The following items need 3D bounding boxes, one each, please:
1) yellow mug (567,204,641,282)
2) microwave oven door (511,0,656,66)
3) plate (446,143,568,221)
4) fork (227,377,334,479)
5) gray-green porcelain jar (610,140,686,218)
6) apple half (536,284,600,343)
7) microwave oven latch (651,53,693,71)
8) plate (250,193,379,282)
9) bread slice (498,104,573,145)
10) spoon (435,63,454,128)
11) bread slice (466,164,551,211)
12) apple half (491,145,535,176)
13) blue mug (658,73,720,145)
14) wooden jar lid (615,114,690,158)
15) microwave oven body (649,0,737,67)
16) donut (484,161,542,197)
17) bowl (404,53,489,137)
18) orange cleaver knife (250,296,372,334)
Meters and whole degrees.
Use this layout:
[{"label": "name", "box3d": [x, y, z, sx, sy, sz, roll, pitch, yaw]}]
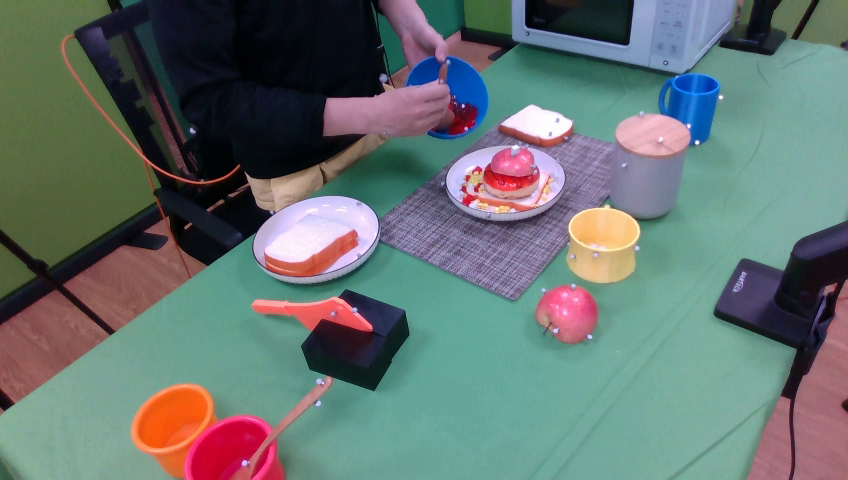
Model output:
[{"label": "yellow mug", "box3d": [0.268, -0.005, 0.905, 0.099, 0.064, 0.130, 6, 42, 15]}, {"label": "microwave oven door", "box3d": [0.350, -0.539, 1.348, 0.353, 0.245, 0.039, 24, 50, 31]}, {"label": "plate", "box3d": [0.142, -0.097, 1.045, 0.207, 0.039, 0.206, -4, 40, 4]}, {"label": "fork", "box3d": [-0.163, 0.216, 0.647, 0.207, 0.019, 0.028, -49, 41, 16]}, {"label": "gray-green porcelain jar", "box3d": [0.354, -0.106, 0.964, 0.106, 0.127, 0.105, -4, 41, 4]}, {"label": "apple half", "box3d": [0.196, 0.091, 0.815, 0.075, 0.053, 0.080, -22, 42, -20]}, {"label": "microwave oven latch", "box3d": [0.532, -0.386, 1.301, 0.078, 0.029, 0.030, 27, 52, 34]}, {"label": "plate", "box3d": [-0.174, -0.001, 0.984, 0.209, 0.038, 0.208, -3, 40, 3]}, {"label": "bread slice", "box3d": [0.231, -0.231, 1.205, 0.105, 0.019, 0.130, -36, 47, -28]}, {"label": "spoon", "box3d": [0.031, -0.230, 0.979, 0.041, 0.194, 0.021, -35, 73, -8]}, {"label": "bread slice", "box3d": [0.140, -0.092, 1.042, 0.133, 0.018, 0.107, 11, 43, 19]}, {"label": "apple half", "box3d": [0.147, -0.138, 0.994, 0.081, 0.033, 0.081, 1, 37, 0]}, {"label": "blue mug", "box3d": [0.483, -0.250, 1.127, 0.082, 0.106, 0.115, -26, 44, -20]}, {"label": "wooden jar lid", "box3d": [0.347, -0.155, 0.923, 0.108, 0.021, 0.108, -3, 44, 4]}, {"label": "microwave oven body", "box3d": [0.475, -0.602, 1.411, 0.438, 0.261, 0.327, 23, 50, 32]}, {"label": "donut", "box3d": [0.149, -0.109, 1.016, 0.099, 0.048, 0.098, -4, 40, 4]}, {"label": "bowl", "box3d": [0.032, -0.243, 1.069, 0.152, 0.076, 0.151, 3, 78, -12]}, {"label": "orange cleaver knife", "box3d": [-0.159, 0.103, 0.828, 0.210, 0.078, 0.012, -4, 43, 39]}]
